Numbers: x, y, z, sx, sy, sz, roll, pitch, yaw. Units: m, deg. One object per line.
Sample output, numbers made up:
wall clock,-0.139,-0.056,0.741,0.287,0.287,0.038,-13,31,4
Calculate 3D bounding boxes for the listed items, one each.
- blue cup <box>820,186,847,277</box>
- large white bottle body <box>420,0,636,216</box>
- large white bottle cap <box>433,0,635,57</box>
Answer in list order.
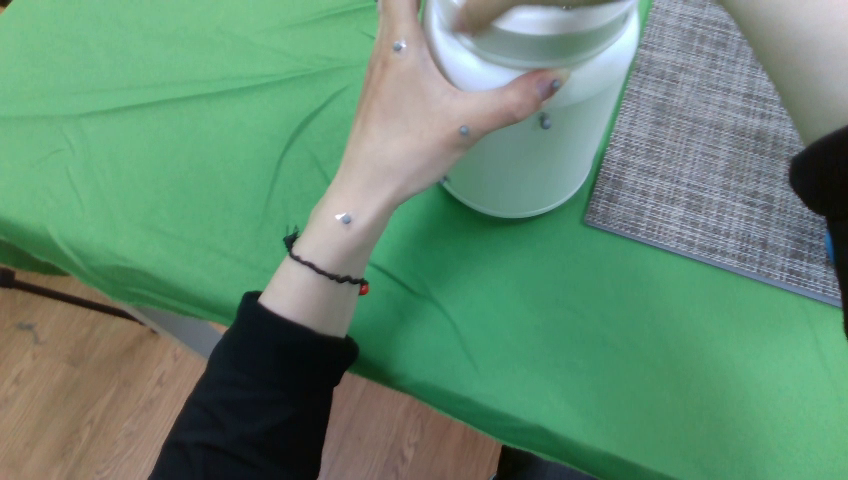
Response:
blue cup,0.316,-0.017,0.397,0.092,0.101,0.092,-1,63,3
large white bottle body,0.063,-0.113,0.407,0.130,0.186,0.129,-1,65,2
large white bottle cap,0.060,-0.149,0.330,0.115,0.018,0.114,0,65,1
